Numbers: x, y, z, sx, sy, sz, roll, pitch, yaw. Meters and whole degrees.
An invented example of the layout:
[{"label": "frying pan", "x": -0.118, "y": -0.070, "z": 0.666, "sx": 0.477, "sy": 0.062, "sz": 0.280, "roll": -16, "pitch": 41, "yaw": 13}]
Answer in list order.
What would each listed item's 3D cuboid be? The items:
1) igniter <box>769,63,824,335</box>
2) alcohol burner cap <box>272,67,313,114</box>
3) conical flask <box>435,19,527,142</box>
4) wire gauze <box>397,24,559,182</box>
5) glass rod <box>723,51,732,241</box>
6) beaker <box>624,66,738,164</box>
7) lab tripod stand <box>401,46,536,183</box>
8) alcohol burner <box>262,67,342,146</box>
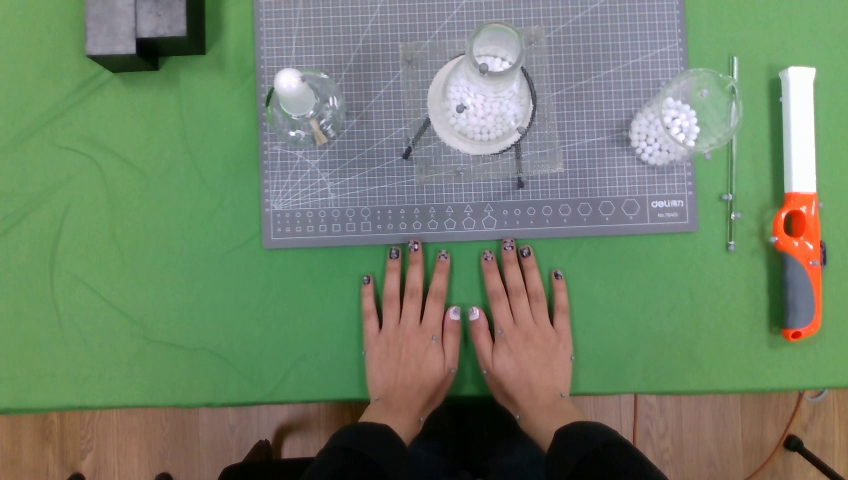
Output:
[{"label": "igniter", "x": 0.378, "y": -0.042, "z": 0.617, "sx": 0.057, "sy": 0.025, "sz": 0.276, "roll": 0, "pitch": 88, "yaw": -9}, {"label": "alcohol burner cap", "x": -0.120, "y": -0.137, "z": 0.542, "sx": 0.034, "sy": 0.048, "sz": 0.033, "roll": 0, "pitch": 79, "yaw": -2}, {"label": "conical flask", "x": 0.045, "y": -0.119, "z": 0.442, "sx": 0.075, "sy": 0.122, "sz": 0.075, "roll": 0, "pitch": 87, "yaw": 1}, {"label": "wire gauze", "x": 0.045, "y": -0.112, "z": 0.501, "sx": 0.125, "sy": 0.011, "sz": 0.121, "roll": -6, "pitch": 90, "yaw": -2}, {"label": "glass rod", "x": 0.317, "y": -0.099, "z": 0.630, "sx": 0.008, "sy": 0.008, "sz": 0.199, "roll": 2, "pitch": 88, "yaw": 0}, {"label": "beaker", "x": 0.243, "y": -0.116, "z": 0.582, "sx": 0.084, "sy": 0.100, "sz": 0.074, "roll": -40, "pitch": 88, "yaw": -2}, {"label": "lab tripod stand", "x": 0.045, "y": -0.111, "z": 0.566, "sx": 0.148, "sy": 0.131, "sz": 0.148, "roll": 0, "pitch": 89, "yaw": 1}, {"label": "alcohol burner", "x": -0.119, "y": -0.132, "z": 0.577, "sx": 0.078, "sy": 0.119, "sz": 0.077, "roll": 0, "pitch": 85, "yaw": 0}]
